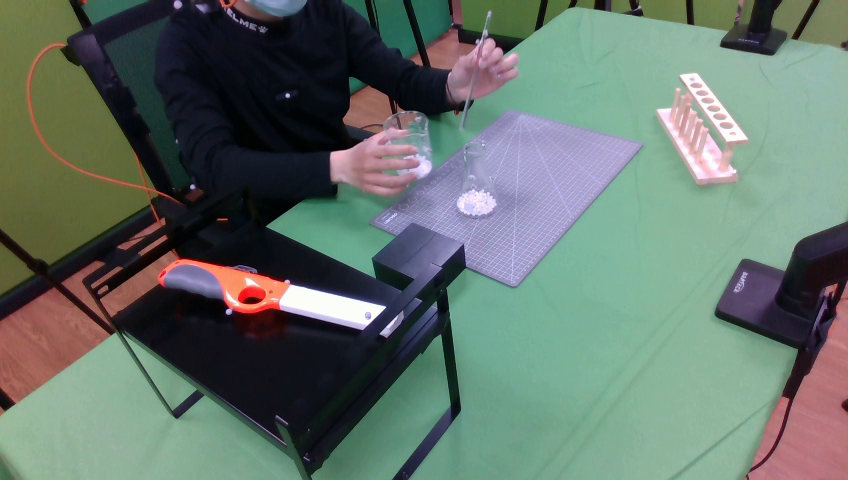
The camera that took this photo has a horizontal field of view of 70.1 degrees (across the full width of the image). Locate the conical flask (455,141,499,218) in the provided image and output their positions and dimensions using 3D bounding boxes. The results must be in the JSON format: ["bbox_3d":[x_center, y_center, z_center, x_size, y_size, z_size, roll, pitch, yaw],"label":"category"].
[{"bbox_3d":[0.085,-0.103,0.999,0.075,0.122,0.075,-4,40,4],"label":"conical flask"}]

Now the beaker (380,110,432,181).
[{"bbox_3d":[-0.025,-0.157,1.024,0.083,0.101,0.074,26,55,31],"label":"beaker"}]

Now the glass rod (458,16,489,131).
[{"bbox_3d":[0.080,-0.269,0.972,0.008,0.008,0.199,11,81,20],"label":"glass rod"}]

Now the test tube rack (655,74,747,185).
[{"bbox_3d":[0.491,-0.205,1.092,0.067,0.085,0.241,-5,40,3],"label":"test tube rack"}]

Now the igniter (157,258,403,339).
[{"bbox_3d":[-0.157,0.059,0.638,0.275,0.025,0.057,11,43,14],"label":"igniter"}]
